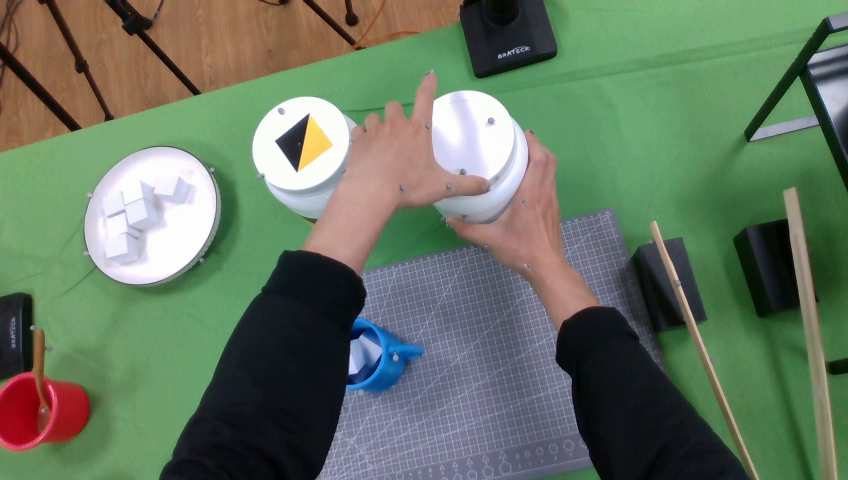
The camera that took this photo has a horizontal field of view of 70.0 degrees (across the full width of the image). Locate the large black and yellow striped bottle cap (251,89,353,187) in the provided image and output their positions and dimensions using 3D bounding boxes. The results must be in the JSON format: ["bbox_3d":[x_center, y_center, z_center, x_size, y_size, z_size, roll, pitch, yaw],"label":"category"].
[{"bbox_3d":[-0.138,-0.116,0.684,0.115,0.019,0.114,-2,76,8],"label":"large black and yellow striped bottle cap"}]

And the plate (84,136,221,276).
[{"bbox_3d":[-0.386,-0.047,0.875,0.207,0.039,0.206,-2,76,9],"label":"plate"}]

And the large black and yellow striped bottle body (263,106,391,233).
[{"bbox_3d":[-0.123,-0.093,0.764,0.130,0.185,0.130,-2,75,10],"label":"large black and yellow striped bottle body"}]

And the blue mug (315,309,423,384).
[{"bbox_3d":[-0.059,0.130,0.735,0.116,0.106,0.082,-7,74,8],"label":"blue mug"}]

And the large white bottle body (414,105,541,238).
[{"bbox_3d":[0.063,-0.087,0.709,0.130,0.186,0.130,-4,74,16],"label":"large white bottle body"}]

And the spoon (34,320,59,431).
[{"bbox_3d":[-0.491,0.177,0.780,0.041,0.021,0.195,32,127,19],"label":"spoon"}]

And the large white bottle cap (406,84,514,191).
[{"bbox_3d":[0.036,-0.108,0.631,0.114,0.018,0.114,-4,75,16],"label":"large white bottle cap"}]

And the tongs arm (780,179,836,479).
[{"bbox_3d":[0.414,0.127,0.658,0.028,0.028,0.386,-4,87,0],"label":"tongs arm"}]

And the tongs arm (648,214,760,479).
[{"bbox_3d":[0.335,0.146,0.664,0.051,0.026,0.384,-18,85,2],"label":"tongs arm"}]
